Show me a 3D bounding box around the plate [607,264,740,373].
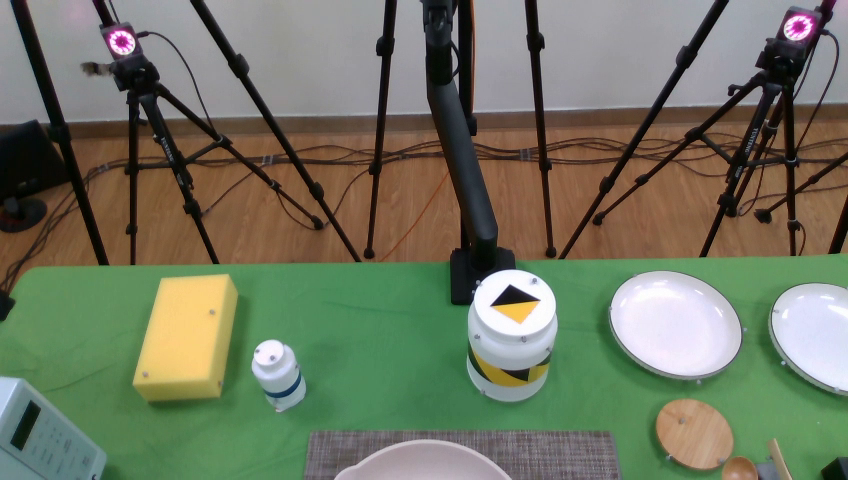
[{"bbox_3d":[0.408,0.131,1.004,0.207,0.039,0.205,-1,50,2],"label":"plate"}]

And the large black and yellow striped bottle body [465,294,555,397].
[{"bbox_3d":[0.127,0.140,0.913,0.131,0.186,0.129,-1,50,2],"label":"large black and yellow striped bottle body"}]

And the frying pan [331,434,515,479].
[{"bbox_3d":[-0.069,0.448,0.708,0.304,0.103,0.487,33,50,28],"label":"frying pan"}]

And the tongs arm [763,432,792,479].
[{"bbox_3d":[0.499,0.419,0.710,0.051,0.027,0.381,-5,62,-6],"label":"tongs arm"}]

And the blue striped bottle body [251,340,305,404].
[{"bbox_3d":[-0.223,0.195,0.922,0.063,0.122,0.062,-1,50,2],"label":"blue striped bottle body"}]

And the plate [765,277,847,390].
[{"bbox_3d":[0.656,0.152,0.974,0.209,0.038,0.207,-1,50,2],"label":"plate"}]

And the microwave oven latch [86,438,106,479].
[{"bbox_3d":[-0.478,0.322,0.855,0.030,0.030,0.078,2,51,4],"label":"microwave oven latch"}]

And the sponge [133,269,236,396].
[{"bbox_3d":[-0.391,0.150,1.006,0.118,0.061,0.204,-4,51,-2],"label":"sponge"}]

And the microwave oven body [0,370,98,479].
[{"bbox_3d":[-0.634,0.395,0.674,0.326,0.262,0.437,0,50,2],"label":"microwave oven body"}]

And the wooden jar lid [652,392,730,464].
[{"bbox_3d":[0.391,0.278,0.892,0.108,0.021,0.107,-1,51,2],"label":"wooden jar lid"}]

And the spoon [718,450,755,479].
[{"bbox_3d":[0.352,0.334,0.684,0.041,0.022,0.192,15,55,10],"label":"spoon"}]

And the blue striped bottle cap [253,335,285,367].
[{"bbox_3d":[-0.226,0.161,0.883,0.044,0.021,0.044,-1,51,2],"label":"blue striped bottle cap"}]

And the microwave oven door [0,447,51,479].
[{"bbox_3d":[-0.490,0.423,0.637,0.039,0.246,0.352,-1,50,3],"label":"microwave oven door"}]

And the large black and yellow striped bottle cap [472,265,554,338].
[{"bbox_3d":[0.125,0.084,0.849,0.115,0.019,0.114,-1,51,2],"label":"large black and yellow striped bottle cap"}]
